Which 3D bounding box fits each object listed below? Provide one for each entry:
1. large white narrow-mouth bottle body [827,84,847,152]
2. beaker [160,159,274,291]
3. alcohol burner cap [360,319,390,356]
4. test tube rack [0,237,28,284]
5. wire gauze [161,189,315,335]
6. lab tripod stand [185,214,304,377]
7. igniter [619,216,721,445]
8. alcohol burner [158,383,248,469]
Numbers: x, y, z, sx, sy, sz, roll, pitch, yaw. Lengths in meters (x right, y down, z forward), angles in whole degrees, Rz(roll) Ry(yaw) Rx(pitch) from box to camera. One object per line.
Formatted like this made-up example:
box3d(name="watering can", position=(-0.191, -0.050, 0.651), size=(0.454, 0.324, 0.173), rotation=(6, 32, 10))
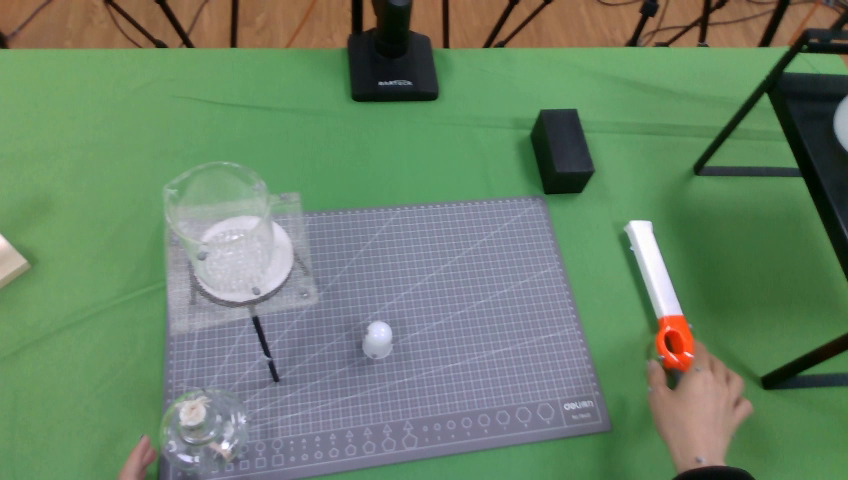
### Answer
box3d(name="large white narrow-mouth bottle body", position=(0.483, -0.161, 0.563), size=(0.102, 0.196, 0.101), rotation=(3, 61, -6))
box3d(name="beaker", position=(-0.165, -0.008, 0.495), size=(0.084, 0.101, 0.073), rotation=(18, 61, 2))
box3d(name="alcohol burner cap", position=(-0.051, 0.101, 0.636), size=(0.034, 0.048, 0.033), rotation=(2, 64, -5))
box3d(name="test tube rack", position=(-0.521, 0.063, 0.567), size=(0.066, 0.086, 0.242), rotation=(39, 63, 13))
box3d(name="wire gauze", position=(-0.167, 0.014, 0.539), size=(0.122, 0.011, 0.124), rotation=(-10, 67, -12))
box3d(name="lab tripod stand", position=(-0.171, 0.049, 0.594), size=(0.149, 0.132, 0.147), rotation=(4, 61, -8))
box3d(name="igniter", position=(0.280, 0.094, 0.697), size=(0.057, 0.025, 0.274), rotation=(1, 61, -19))
box3d(name="alcohol burner", position=(-0.199, 0.161, 0.540), size=(0.078, 0.120, 0.077), rotation=(4, 59, -7))
